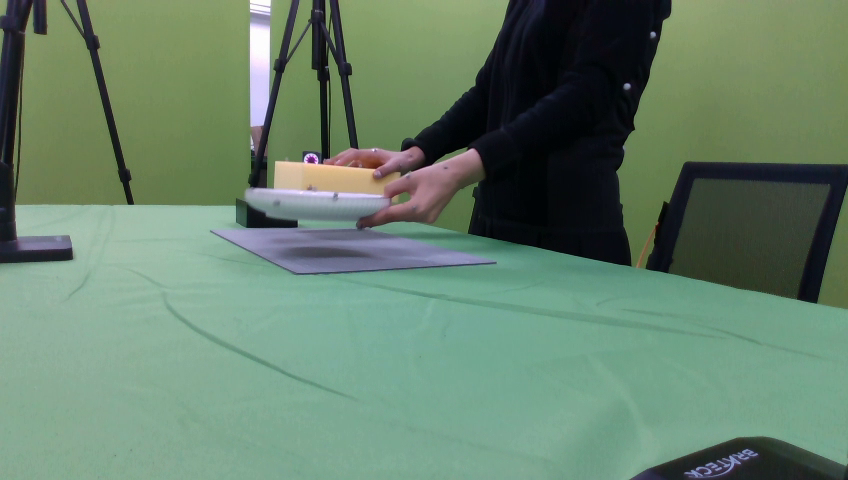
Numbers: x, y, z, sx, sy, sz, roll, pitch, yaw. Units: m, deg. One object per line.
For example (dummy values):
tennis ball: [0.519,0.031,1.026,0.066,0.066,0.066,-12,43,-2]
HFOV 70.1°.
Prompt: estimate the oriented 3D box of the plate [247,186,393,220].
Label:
plate: [-0.148,-0.053,0.875,0.209,0.038,0.209,3,6,0]

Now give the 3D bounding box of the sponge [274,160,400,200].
sponge: [-0.162,-0.111,1.137,0.208,0.061,0.117,0,7,-38]
